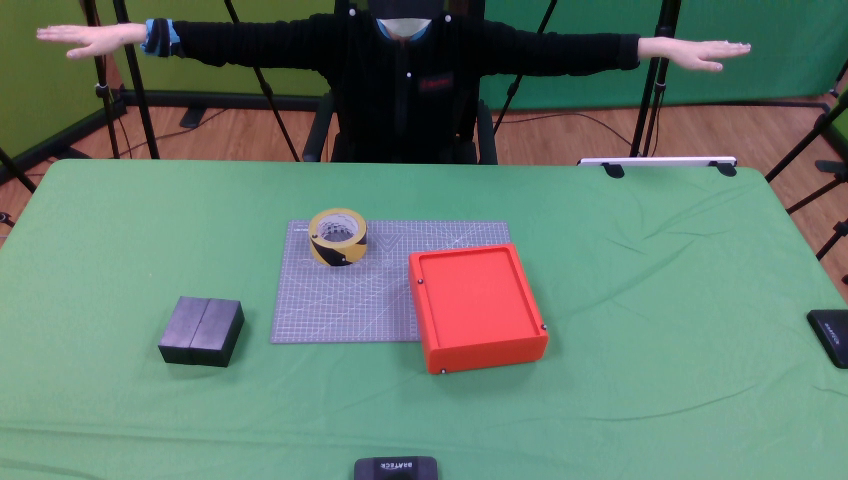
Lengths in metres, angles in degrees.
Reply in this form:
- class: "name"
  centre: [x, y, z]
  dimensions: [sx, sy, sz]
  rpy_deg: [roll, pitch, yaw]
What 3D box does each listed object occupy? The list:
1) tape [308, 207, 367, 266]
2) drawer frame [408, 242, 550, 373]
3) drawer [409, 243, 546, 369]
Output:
- class: "tape"
  centre: [-0.167, -0.008, 1.167]
  dimensions: [0.117, 0.053, 0.116]
  rpy_deg: [3, 46, -3]
- class: "drawer frame"
  centre: [0.087, 0.111, 1.051]
  dimensions: [0.202, 0.083, 0.212]
  rpy_deg: [-6, 48, -10]
- class: "drawer"
  centre: [0.085, 0.110, 1.053]
  dimensions: [0.195, 0.073, 0.210]
  rpy_deg: [-5, 47, -10]
